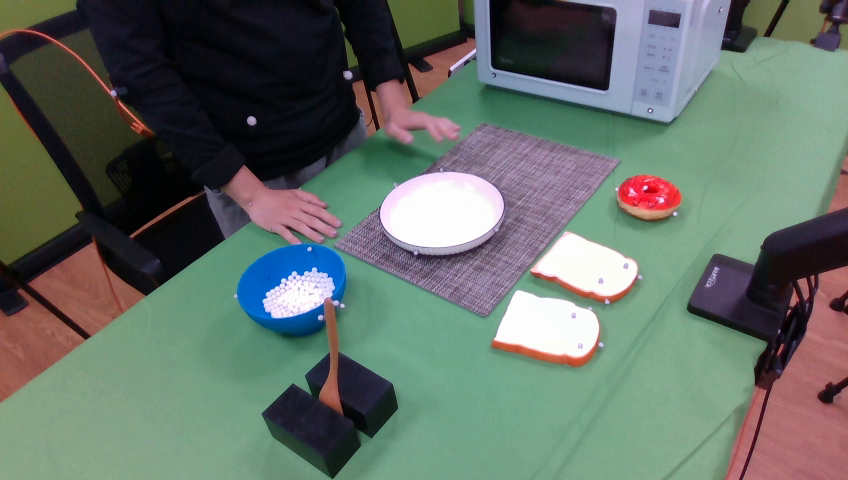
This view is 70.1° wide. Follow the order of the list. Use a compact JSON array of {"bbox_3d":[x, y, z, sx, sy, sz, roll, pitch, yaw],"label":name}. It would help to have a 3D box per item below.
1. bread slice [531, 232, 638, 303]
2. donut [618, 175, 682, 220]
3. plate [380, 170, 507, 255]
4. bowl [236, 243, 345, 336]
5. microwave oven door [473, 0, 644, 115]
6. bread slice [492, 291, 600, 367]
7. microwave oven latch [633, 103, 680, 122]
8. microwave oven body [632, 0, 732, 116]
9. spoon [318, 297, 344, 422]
[{"bbox_3d":[0.242,0.042,0.889,0.133,0.018,0.107,21,48,31],"label":"bread slice"},{"bbox_3d":[0.366,-0.070,0.981,0.099,0.048,0.098,-3,39,3],"label":"donut"},{"bbox_3d":[0.033,-0.042,0.995,0.207,0.039,0.206,-4,40,4],"label":"plate"},{"bbox_3d":[-0.180,0.082,0.855,0.151,0.077,0.150,-4,41,4],"label":"bowl"},{"bbox_3d":[0.257,-0.396,1.199,0.353,0.245,0.039,21,48,29],"label":"microwave oven door"},{"bbox_3d":[0.169,0.118,0.811,0.131,0.019,0.105,11,44,21],"label":"bread slice"},{"bbox_3d":[0.443,-0.249,1.157,0.078,0.029,0.030,21,48,30],"label":"microwave oven latch"},{"bbox_3d":[0.377,-0.462,1.267,0.438,0.261,0.327,21,48,30],"label":"microwave oven body"},{"bbox_3d":[-0.107,0.139,0.687,0.041,0.194,0.022,27,37,31],"label":"spoon"}]
